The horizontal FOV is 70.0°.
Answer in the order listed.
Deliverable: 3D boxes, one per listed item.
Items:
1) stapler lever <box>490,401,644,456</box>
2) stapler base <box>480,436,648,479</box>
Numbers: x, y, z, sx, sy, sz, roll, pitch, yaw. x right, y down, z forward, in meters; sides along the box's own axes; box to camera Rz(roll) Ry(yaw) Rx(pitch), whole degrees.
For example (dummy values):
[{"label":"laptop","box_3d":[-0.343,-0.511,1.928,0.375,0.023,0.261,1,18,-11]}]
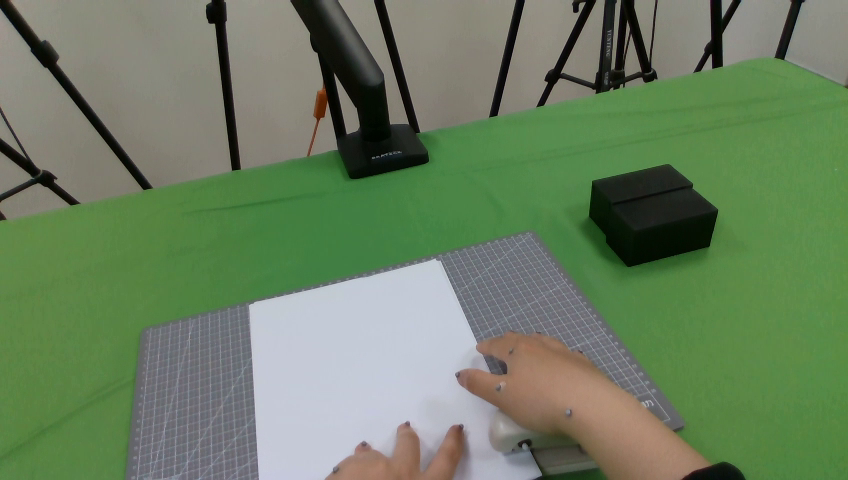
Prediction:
[{"label":"stapler lever","box_3d":[0.110,0.142,0.468,0.118,0.040,0.026,-10,40,-2]},{"label":"stapler base","box_3d":[0.110,0.160,0.481,0.131,0.024,0.041,-7,40,-4]}]
